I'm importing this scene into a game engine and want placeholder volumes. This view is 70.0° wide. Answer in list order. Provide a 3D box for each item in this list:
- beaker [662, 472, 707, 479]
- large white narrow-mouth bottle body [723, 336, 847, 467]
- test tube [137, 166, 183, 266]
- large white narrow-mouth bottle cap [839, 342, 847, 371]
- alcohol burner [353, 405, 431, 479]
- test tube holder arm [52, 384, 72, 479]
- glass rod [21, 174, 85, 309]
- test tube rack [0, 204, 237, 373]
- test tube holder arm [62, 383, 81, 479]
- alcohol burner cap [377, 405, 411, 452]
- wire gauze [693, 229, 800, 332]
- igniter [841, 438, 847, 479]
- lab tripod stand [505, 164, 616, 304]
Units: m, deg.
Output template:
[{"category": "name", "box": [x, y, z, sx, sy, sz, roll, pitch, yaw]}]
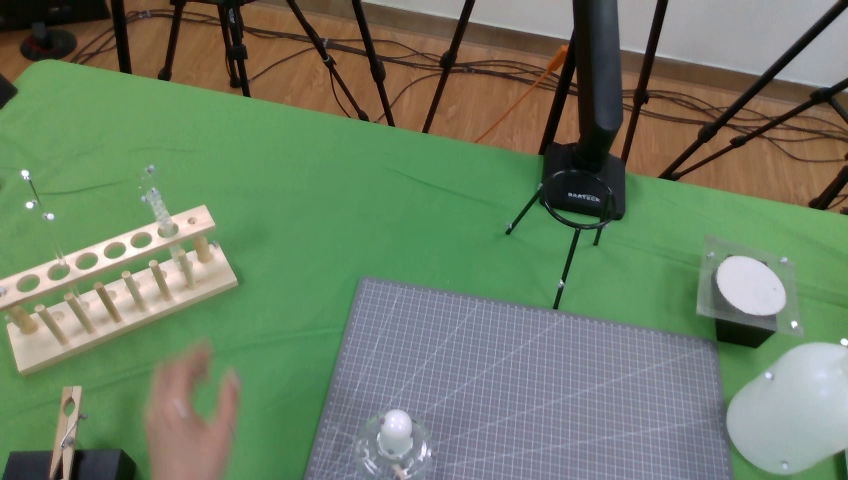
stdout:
[{"category": "beaker", "box": [0.229, 0.271, 0.572, 0.084, 0.101, 0.073, 7, 54, 1]}, {"category": "large white narrow-mouth bottle body", "box": [0.393, 0.156, 0.616, 0.102, 0.196, 0.101, 2, 54, -3]}, {"category": "test tube", "box": [-0.290, -0.022, 0.676, 0.017, 0.151, 0.017, 2, 48, -2]}, {"category": "large white narrow-mouth bottle cap", "box": [0.399, 0.105, 0.547, 0.038, 0.024, 0.037, 3, 54, -3]}, {"category": "alcohol burner", "box": [-0.030, 0.194, 0.591, 0.078, 0.120, 0.077, 4, 53, -5]}, {"category": "test tube holder arm", "box": [-0.340, 0.179, 0.571, 0.010, 0.015, 0.087, -6, 56, -14]}, {"category": "glass rod", "box": [-0.379, 0.010, 0.624, 0.008, 0.201, 0.008, 5, 45, -5]}, {"category": "test tube rack", "box": [-0.346, 0.051, 0.681, 0.243, 0.086, 0.066, -24, 60, -21]}, {"category": "test tube holder arm", "box": [-0.324, 0.215, 0.549, 0.013, 0.015, 0.176, -7, 57, -15]}, {"category": "alcohol burner cap", "box": [-0.027, 0.173, 0.562, 0.034, 0.048, 0.033, 3, 48, -2]}, {"category": "wire gauze", "box": [0.396, 0.049, 0.747, 0.121, 0.011, 0.124, 17, 54, 6]}, {"category": "igniter", "box": [0.456, 0.302, 0.621, 0.057, 0.025, 0.274, 22, 54, -3]}, {"category": "lab tripod stand", "box": [0.175, -0.015, 0.753, 0.148, 0.132, 0.147, 4, 56, -5]}]
